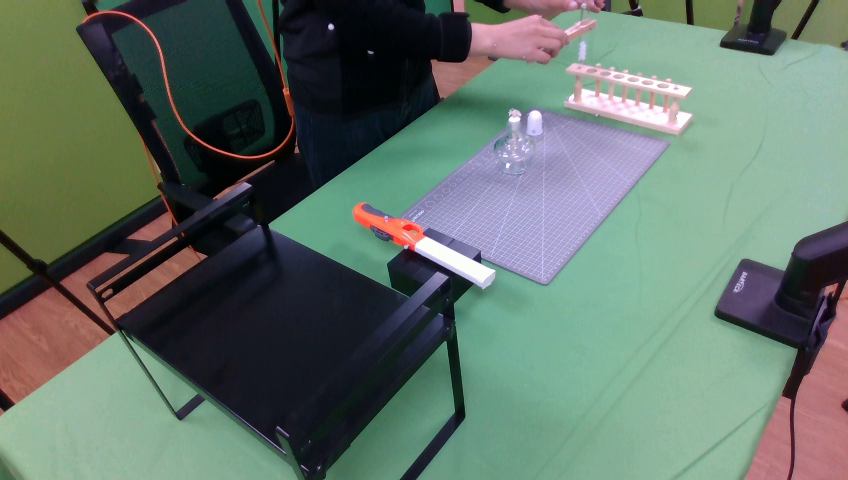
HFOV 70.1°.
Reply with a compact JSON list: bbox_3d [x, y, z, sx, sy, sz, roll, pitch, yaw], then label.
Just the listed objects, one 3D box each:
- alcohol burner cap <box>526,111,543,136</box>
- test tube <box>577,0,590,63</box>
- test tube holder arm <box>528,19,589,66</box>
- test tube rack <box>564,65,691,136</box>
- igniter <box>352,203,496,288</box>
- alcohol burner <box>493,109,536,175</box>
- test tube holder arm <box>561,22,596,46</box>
[{"bbox_3d":[0.219,-0.232,1.196,0.034,0.048,0.033,-4,41,4],"label":"alcohol burner cap"},{"bbox_3d":[0.301,-0.404,1.138,0.017,0.151,0.017,-4,42,4],"label":"test tube"},{"bbox_3d":[0.250,-0.365,1.116,0.179,0.015,0.013,-37,53,-25],"label":"test tube holder arm"},{"bbox_3d":[0.404,-0.288,1.204,0.240,0.085,0.067,24,49,32],"label":"test tube rack"},{"bbox_3d":[-0.011,0.002,0.899,0.274,0.025,0.057,27,45,33],"label":"igniter"},{"bbox_3d":[0.163,-0.179,1.087,0.078,0.119,0.077,-5,38,4],"label":"alcohol burner"},{"bbox_3d":[0.287,-0.386,1.131,0.088,0.015,0.010,-30,51,-20],"label":"test tube holder arm"}]
